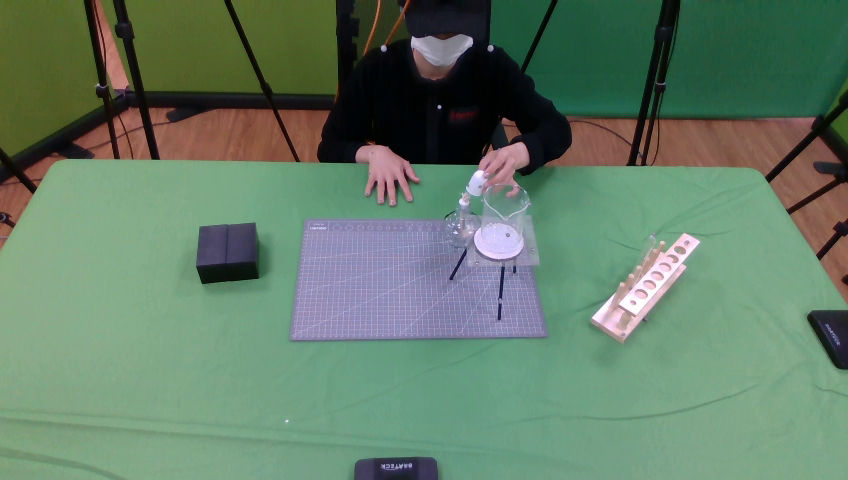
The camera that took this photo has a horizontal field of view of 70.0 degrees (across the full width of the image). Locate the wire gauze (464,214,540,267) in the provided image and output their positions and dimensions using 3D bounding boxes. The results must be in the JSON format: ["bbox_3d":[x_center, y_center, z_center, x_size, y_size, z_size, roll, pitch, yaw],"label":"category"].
[{"bbox_3d":[0.131,-0.001,1.035,0.121,0.011,0.124,1,44,-2],"label":"wire gauze"}]

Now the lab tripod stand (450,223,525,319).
[{"bbox_3d":[0.120,0.046,1.080,0.148,0.132,0.147,1,47,-1],"label":"lab tripod stand"}]

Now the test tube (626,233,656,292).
[{"bbox_3d":[0.384,0.042,1.079,0.017,0.151,0.017,1,47,-1],"label":"test tube"}]

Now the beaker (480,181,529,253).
[{"bbox_3d":[0.130,-0.033,0.998,0.074,0.101,0.083,5,47,4],"label":"beaker"}]

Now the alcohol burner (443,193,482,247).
[{"bbox_3d":[0.075,-0.044,1.177,0.078,0.120,0.077,2,44,-1],"label":"alcohol burner"}]

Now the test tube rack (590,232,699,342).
[{"bbox_3d":[0.407,0.074,1.112,0.066,0.085,0.242,35,53,26],"label":"test tube rack"}]

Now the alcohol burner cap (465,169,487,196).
[{"bbox_3d":[0.097,-0.107,1.105,0.034,0.048,0.033,13,42,-12],"label":"alcohol burner cap"}]
